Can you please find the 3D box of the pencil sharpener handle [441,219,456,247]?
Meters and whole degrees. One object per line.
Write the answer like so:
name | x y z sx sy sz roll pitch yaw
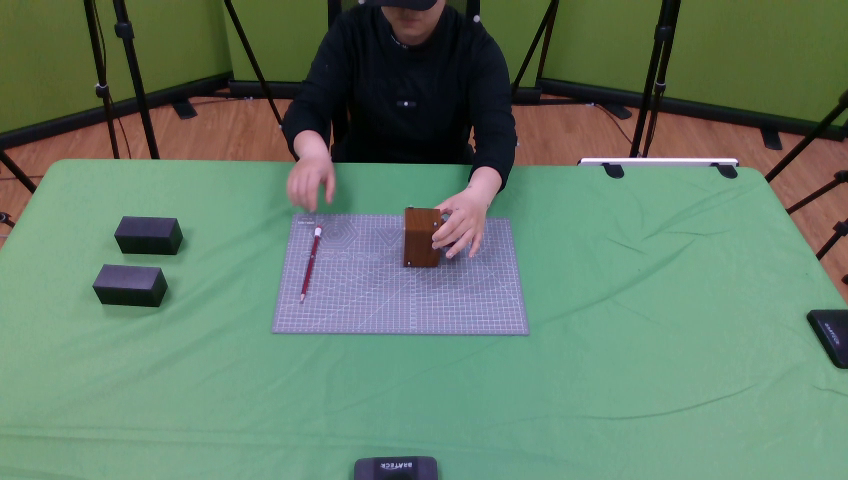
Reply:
pencil sharpener handle | 0.047 -0.011 1.132 0.031 0.068 0.036 1 47 -4

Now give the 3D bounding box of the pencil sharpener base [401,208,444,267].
pencil sharpener base | -0.004 -0.003 1.137 0.077 0.107 0.061 1 45 -4

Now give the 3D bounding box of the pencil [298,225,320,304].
pencil | -0.217 0.043 1.144 0.012 0.012 0.193 5 47 0
